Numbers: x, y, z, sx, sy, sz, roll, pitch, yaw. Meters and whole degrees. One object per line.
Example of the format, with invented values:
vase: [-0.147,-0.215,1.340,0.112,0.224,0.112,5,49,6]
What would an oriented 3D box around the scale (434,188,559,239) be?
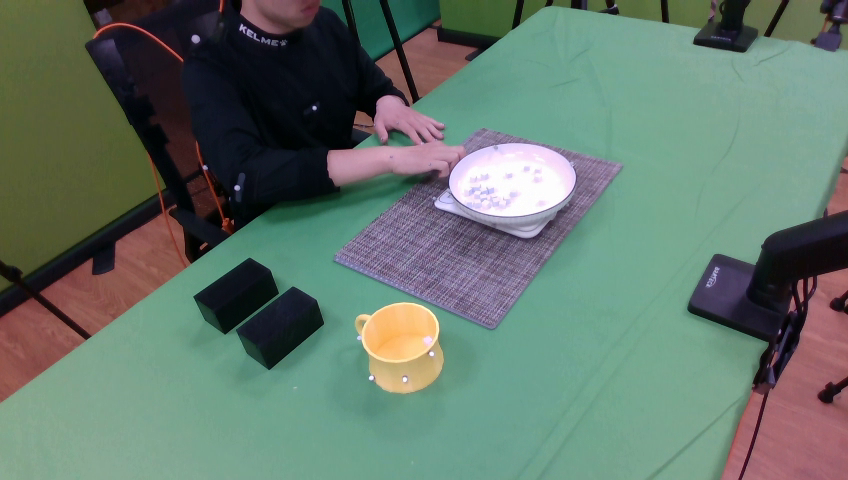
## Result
scale: [0.132,-0.075,1.025,0.199,0.032,0.149,22,48,30]

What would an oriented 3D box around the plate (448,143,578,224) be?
plate: [0.145,-0.089,0.989,0.209,0.038,0.208,-4,40,4]

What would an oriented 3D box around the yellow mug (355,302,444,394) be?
yellow mug: [-0.040,0.133,0.786,0.130,0.064,0.100,20,47,29]
